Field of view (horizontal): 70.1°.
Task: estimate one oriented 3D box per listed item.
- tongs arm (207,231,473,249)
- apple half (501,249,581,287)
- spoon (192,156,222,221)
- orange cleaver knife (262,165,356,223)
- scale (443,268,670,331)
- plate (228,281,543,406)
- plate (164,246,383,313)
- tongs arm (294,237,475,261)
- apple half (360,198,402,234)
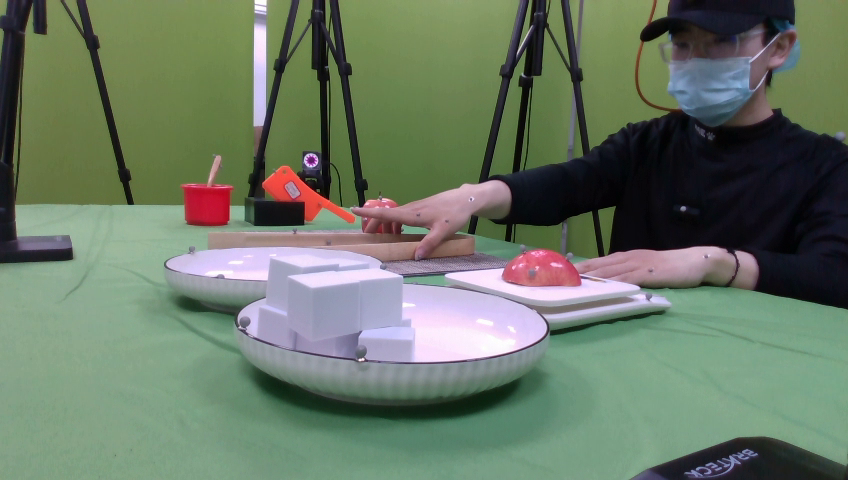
[{"bbox_3d":[-0.109,0.004,0.881,0.387,0.026,0.050,0,6,-23],"label":"tongs arm"},{"bbox_3d":[0.111,0.024,0.585,0.081,0.033,0.081,2,8,0],"label":"apple half"},{"bbox_3d":[-0.430,-0.108,1.222,0.041,0.021,0.193,-1,52,0],"label":"spoon"},{"bbox_3d":[-0.243,-0.081,1.292,0.212,0.077,0.012,34,-8,-26],"label":"orange cleaver knife"},{"bbox_3d":[0.131,0.052,0.603,0.202,0.031,0.148,-2,9,-37],"label":"scale"},{"bbox_3d":[-0.025,0.067,0.413,0.208,0.039,0.207,3,7,0],"label":"plate"},{"bbox_3d":[-0.145,0.038,0.600,0.209,0.038,0.209,2,7,0],"label":"plate"},{"bbox_3d":[-0.073,0.015,0.811,0.390,0.028,0.028,-2,4,-36],"label":"tongs arm"},{"bbox_3d":[-0.066,-0.033,1.014,0.053,0.074,0.081,9,6,21],"label":"apple half"}]
